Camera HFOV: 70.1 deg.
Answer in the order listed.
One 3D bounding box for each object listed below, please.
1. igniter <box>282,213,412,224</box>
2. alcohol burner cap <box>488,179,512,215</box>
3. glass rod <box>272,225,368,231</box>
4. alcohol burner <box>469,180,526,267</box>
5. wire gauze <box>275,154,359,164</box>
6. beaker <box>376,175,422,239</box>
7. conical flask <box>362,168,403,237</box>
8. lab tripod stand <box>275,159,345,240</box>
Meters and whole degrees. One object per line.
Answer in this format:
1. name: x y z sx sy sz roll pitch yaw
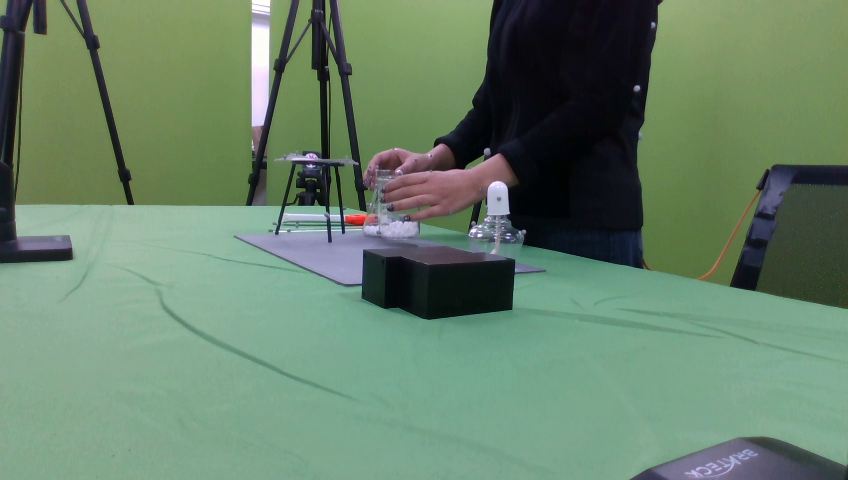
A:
1. igniter: -0.159 -0.046 1.287 0.278 0.025 0.057 -1 -3 -21
2. alcohol burner cap: 0.101 -0.058 0.816 0.034 0.048 0.034 -4 8 1
3. glass rod: -0.197 -0.023 1.170 0.201 0.008 0.008 -3 9 -34
4. alcohol burner: 0.101 -0.022 0.821 0.078 0.119 0.078 4 8 0
5. wire gauze: -0.179 -0.137 1.028 0.121 0.011 0.125 4 8 0
6. beaker: -0.039 -0.055 0.999 0.074 0.100 0.084 4 11 20
7. conical flask: -0.073 -0.069 1.096 0.075 0.122 0.075 3 7 0
8. lab tripod stand: -0.181 -0.072 1.039 0.148 0.131 0.148 4 8 0
